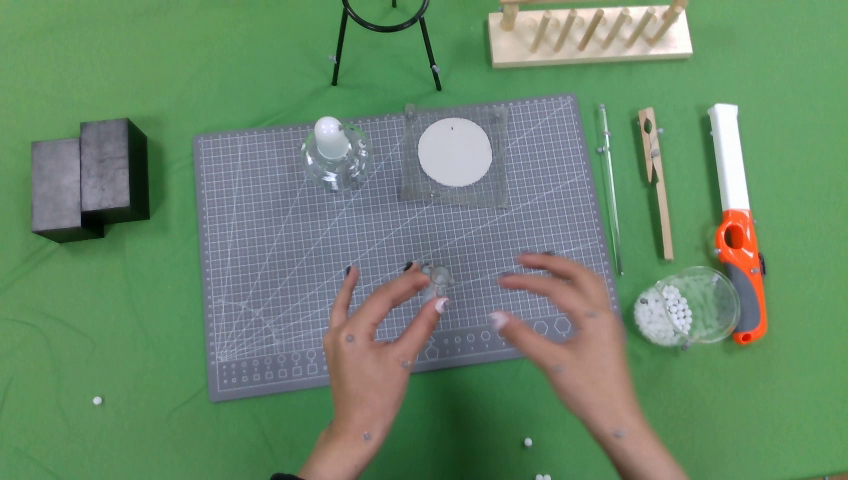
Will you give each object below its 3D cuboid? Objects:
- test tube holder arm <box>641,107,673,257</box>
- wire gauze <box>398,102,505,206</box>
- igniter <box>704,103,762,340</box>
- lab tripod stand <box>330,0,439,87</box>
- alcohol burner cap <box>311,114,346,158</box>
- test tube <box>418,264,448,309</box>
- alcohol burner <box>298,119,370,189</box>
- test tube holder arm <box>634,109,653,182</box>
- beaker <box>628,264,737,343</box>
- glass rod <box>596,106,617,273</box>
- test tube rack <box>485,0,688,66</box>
[{"bbox_3d":[0.268,-0.068,0.699,0.013,0.015,0.177,-13,76,30],"label":"test tube holder arm"},{"bbox_3d":[0.033,-0.102,0.701,0.125,0.011,0.121,4,78,-2],"label":"wire gauze"},{"bbox_3d":[0.350,-0.025,0.690,0.057,0.025,0.275,2,77,-13],"label":"igniter"},{"bbox_3d":[-0.044,-0.233,0.664,0.148,0.132,0.148,0,79,-2],"label":"lab tripod stand"},{"bbox_3d":[-0.097,-0.107,0.604,0.034,0.048,0.033,1,71,-2],"label":"alcohol burner cap"},{"bbox_3d":[0.006,0.041,0.507,0.017,0.151,0.017,1,76,-3],"label":"test tube"},{"bbox_3d":[-0.097,-0.097,0.639,0.078,0.119,0.077,0,77,0],"label":"alcohol burner"},{"bbox_3d":[0.259,-0.111,0.711,0.010,0.015,0.087,-12,76,31],"label":"test tube holder arm"},{"bbox_3d":[0.259,0.069,0.629,0.084,0.100,0.074,24,77,5],"label":"beaker"},{"bbox_3d":[0.212,-0.060,0.701,0.008,0.008,0.199,-2,80,-3],"label":"glass rod"},{"bbox_3d":[0.199,-0.258,0.705,0.242,0.085,0.066,-4,77,-3],"label":"test tube rack"}]
